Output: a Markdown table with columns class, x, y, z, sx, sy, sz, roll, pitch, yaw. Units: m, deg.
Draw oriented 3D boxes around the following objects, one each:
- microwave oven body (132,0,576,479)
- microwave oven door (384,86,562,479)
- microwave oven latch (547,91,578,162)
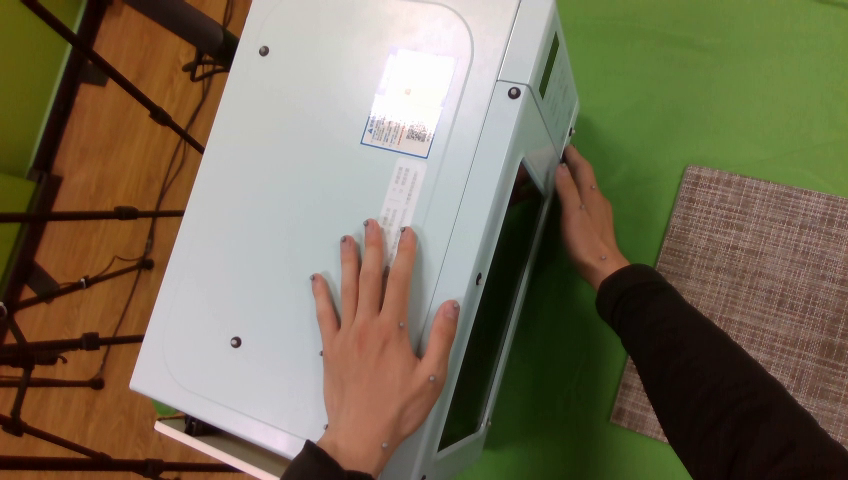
| class | x | y | z | sx | sy | sz | roll | pitch | yaw |
| --- | --- | --- | --- | --- | --- | --- | --- | --- | --- |
| microwave oven body | -0.059 | -0.015 | 0.656 | 0.324 | 0.262 | 0.441 | 15 | 87 | 20 |
| microwave oven door | 0.060 | 0.059 | 0.598 | 0.039 | 0.245 | 0.355 | 15 | 86 | 21 |
| microwave oven latch | 0.157 | -0.133 | 0.704 | 0.030 | 0.030 | 0.079 | 16 | 87 | 20 |
